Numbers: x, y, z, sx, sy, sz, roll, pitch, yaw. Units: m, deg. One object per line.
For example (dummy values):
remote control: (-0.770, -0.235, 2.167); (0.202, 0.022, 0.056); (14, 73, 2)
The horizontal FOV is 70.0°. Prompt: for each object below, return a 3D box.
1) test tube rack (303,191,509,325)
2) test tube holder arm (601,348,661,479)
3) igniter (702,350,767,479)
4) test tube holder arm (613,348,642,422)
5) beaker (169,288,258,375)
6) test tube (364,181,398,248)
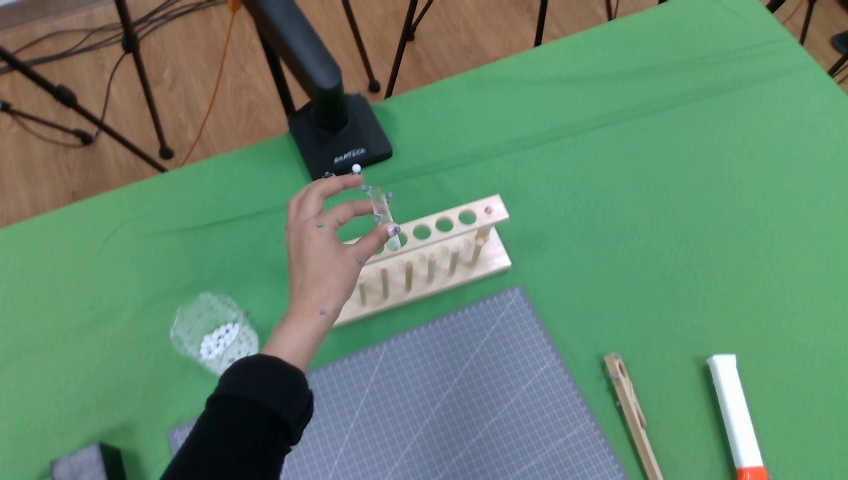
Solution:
test tube rack: (-0.015, 0.023, 0.738); (0.243, 0.086, 0.066); (-18, 66, -10)
test tube holder arm: (0.240, 0.211, 0.692); (0.013, 0.015, 0.177); (5, 61, -37)
igniter: (0.358, 0.257, 0.669); (0.057, 0.025, 0.274); (2, 64, -11)
test tube holder arm: (0.235, 0.171, 0.713); (0.010, 0.015, 0.087); (6, 60, -36)
beaker: (-0.230, 0.110, 0.682); (0.074, 0.101, 0.083); (-19, 67, -10)
test tube: (-0.040, -0.020, 0.596); (0.017, 0.151, 0.017); (-1, 71, 4)
